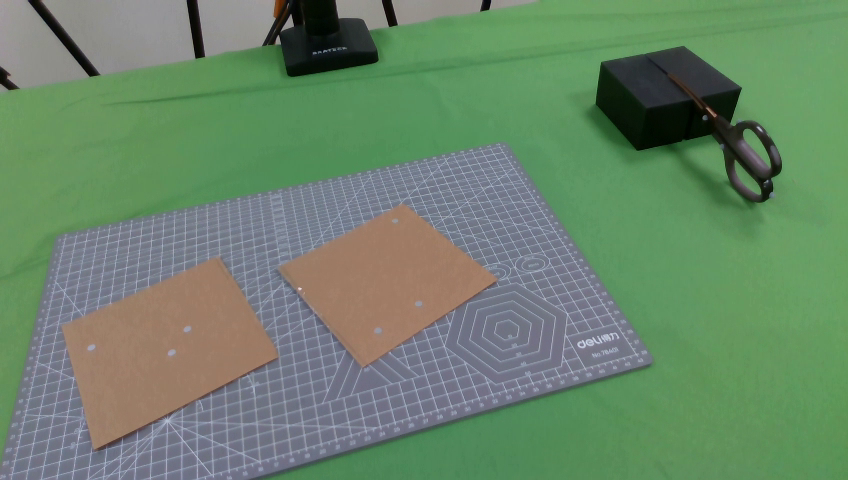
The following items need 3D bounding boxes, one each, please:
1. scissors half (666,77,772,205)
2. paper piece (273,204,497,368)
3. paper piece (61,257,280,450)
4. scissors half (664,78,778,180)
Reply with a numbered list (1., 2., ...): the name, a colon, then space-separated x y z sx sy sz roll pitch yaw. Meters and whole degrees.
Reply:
1. scissors half: 0.276 -0.100 0.583 0.013 0.040 0.173 -18 58 -3
2. paper piece: -0.034 0.030 0.509 0.138 0.009 0.134 -28 52 -25
3. paper piece: -0.200 0.078 0.470 0.136 0.004 0.134 -25 47 -22
4. scissors half: 0.271 -0.113 0.568 0.013 0.040 0.173 -22 40 1
